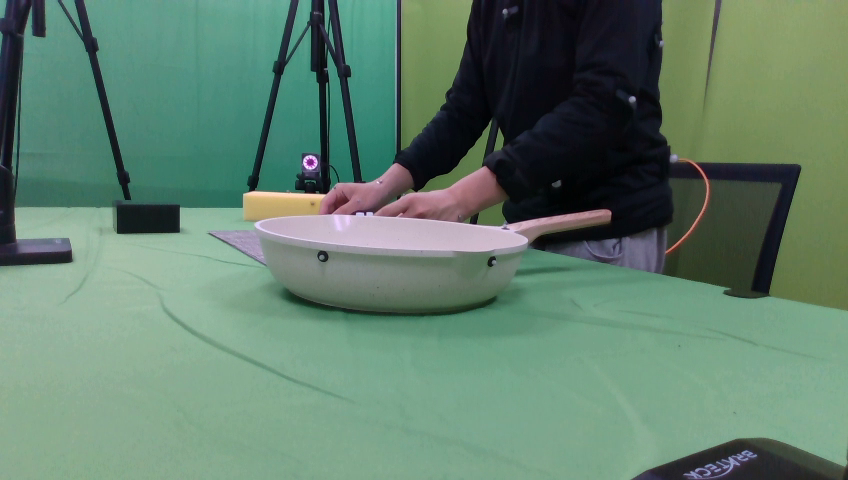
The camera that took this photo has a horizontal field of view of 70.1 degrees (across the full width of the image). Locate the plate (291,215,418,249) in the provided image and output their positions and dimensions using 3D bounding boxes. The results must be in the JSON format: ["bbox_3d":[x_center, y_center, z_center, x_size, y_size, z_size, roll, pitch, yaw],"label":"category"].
[{"bbox_3d":[-0.114,-0.013,1.001,0.208,0.039,0.207,2,7,0],"label":"plate"}]

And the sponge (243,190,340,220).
[{"bbox_3d":[-0.298,-0.077,1.388,0.207,0.061,0.118,2,8,-7],"label":"sponge"}]

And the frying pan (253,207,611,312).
[{"bbox_3d":[0.052,-0.001,0.715,0.490,0.102,0.305,-11,15,-31],"label":"frying pan"}]
